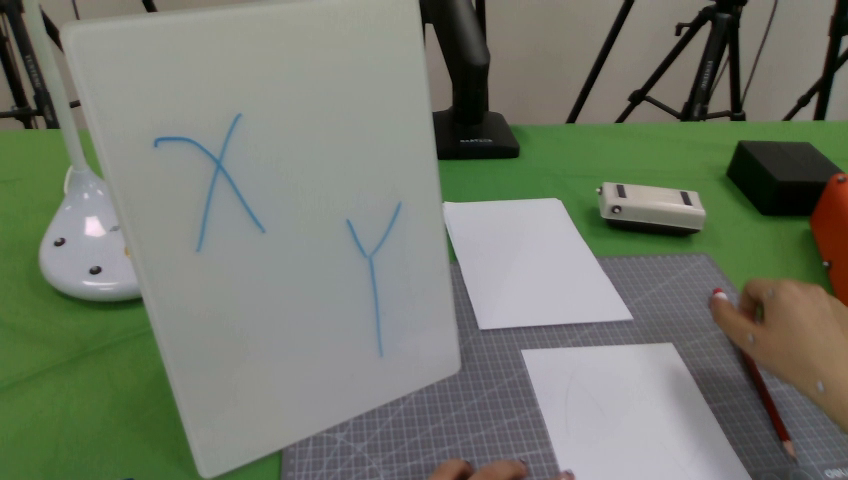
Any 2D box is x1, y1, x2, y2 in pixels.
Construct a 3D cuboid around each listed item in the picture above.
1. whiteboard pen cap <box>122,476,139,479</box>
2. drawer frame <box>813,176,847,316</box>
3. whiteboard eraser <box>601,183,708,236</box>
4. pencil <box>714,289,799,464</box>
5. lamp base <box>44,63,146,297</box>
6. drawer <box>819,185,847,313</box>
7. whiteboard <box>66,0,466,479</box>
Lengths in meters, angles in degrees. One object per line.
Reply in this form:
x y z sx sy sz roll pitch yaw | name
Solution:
-0.189 0.172 0.403 0.033 0.018 0.018 23 41 26 | whiteboard pen cap
0.528 0.035 0.605 0.201 0.083 0.212 12 37 11 | drawer frame
0.266 -0.035 0.705 0.112 0.042 0.055 8 39 4 | whiteboard eraser
0.291 0.111 0.536 0.012 0.012 0.192 5 39 1 | pencil
-0.297 -0.064 0.568 0.178 0.182 0.160 23 41 26 | lamp base
0.527 0.039 0.603 0.194 0.074 0.210 13 37 12 | drawer
-0.107 -0.017 0.470 0.218 0.307 0.142 -17 23 -24 | whiteboard
